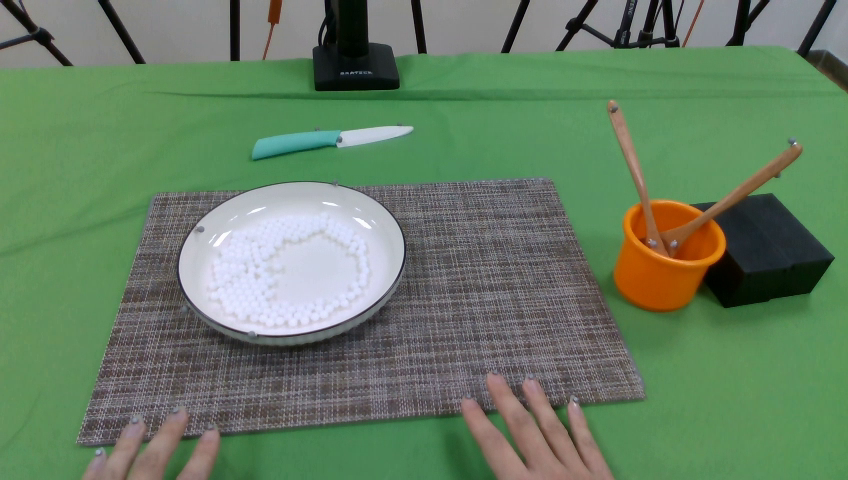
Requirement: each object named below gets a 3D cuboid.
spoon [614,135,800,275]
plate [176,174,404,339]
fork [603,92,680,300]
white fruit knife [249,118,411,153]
[{"bbox_3d":[0.263,-0.031,0.569,0.041,0.194,0.022,54,23,7],"label":"spoon"},{"bbox_3d":[-0.122,0.014,0.576,0.209,0.038,0.207,2,44,-2],"label":"plate"},{"bbox_3d":[0.206,-0.043,0.582,0.028,0.018,0.207,-16,91,-5],"label":"fork"},{"bbox_3d":[-0.114,-0.135,0.756,0.208,0.016,0.027,-11,74,-17],"label":"white fruit knife"}]
